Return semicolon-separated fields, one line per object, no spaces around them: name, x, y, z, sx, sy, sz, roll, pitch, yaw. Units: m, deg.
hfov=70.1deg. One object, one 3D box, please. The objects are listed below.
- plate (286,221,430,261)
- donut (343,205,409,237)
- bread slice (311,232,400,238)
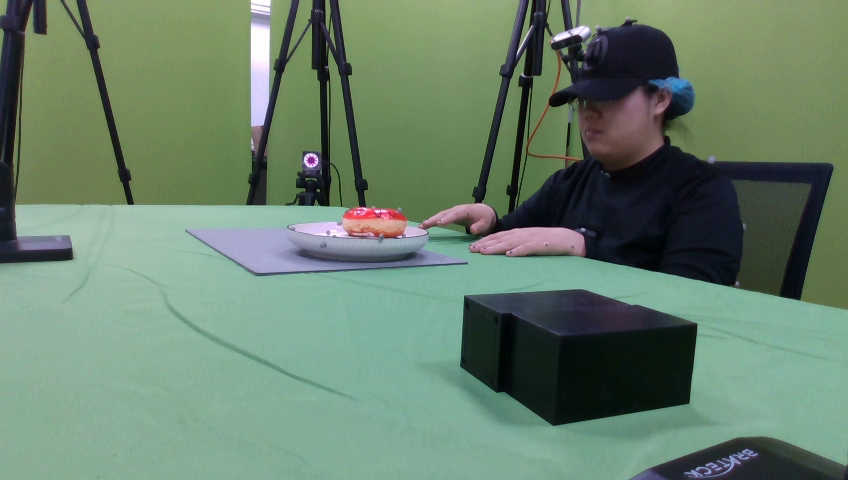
plate;-0.096;0.001;0.886;0.209;0.038;0.209;2;7;0
donut;-0.072;-0.027;0.894;0.099;0.048;0.099;4;3;0
bread slice;-0.101;0.002;0.885;0.135;0.018;0.106;-3;8;-38
